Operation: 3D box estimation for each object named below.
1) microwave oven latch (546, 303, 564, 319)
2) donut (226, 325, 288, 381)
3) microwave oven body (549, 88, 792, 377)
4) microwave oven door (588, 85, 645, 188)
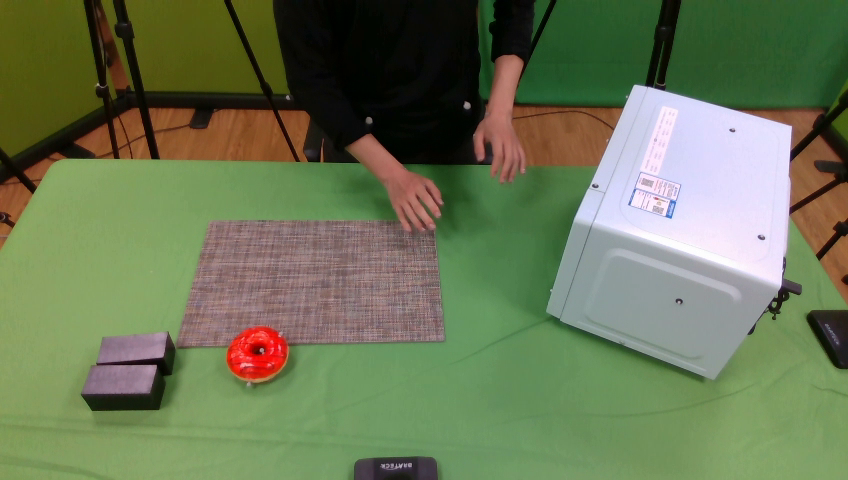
[{"bbox_3d":[0.242,0.102,1.081,0.030,0.029,0.079,22,48,17],"label":"microwave oven latch"},{"bbox_3d":[-0.270,0.182,0.984,0.099,0.048,0.098,5,49,-5],"label":"donut"},{"bbox_3d":[0.456,-0.028,1.088,0.325,0.261,0.440,20,47,16],"label":"microwave oven body"},{"bbox_3d":[0.342,-0.107,1.149,0.039,0.245,0.354,20,48,15],"label":"microwave oven door"}]
